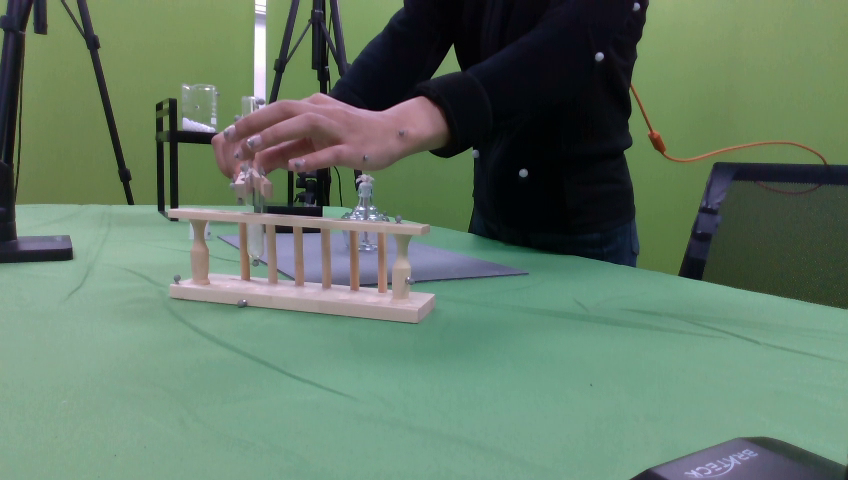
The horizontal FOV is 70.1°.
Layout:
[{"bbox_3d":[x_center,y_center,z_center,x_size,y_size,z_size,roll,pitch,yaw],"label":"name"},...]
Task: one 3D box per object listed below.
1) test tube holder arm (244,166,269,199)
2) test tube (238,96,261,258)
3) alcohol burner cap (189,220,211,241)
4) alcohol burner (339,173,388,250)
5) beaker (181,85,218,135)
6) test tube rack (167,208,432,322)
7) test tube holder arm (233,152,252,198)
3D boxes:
[{"bbox_3d":[-0.168,-0.057,0.591,0.010,0.015,0.087,-2,19,-30],"label":"test tube holder arm"},{"bbox_3d":[-0.162,-0.057,0.561,0.017,0.150,0.017,0,8,0],"label":"test tube"},{"bbox_3d":[-0.366,-0.023,0.987,0.034,0.048,0.034,3,8,0],"label":"alcohol burner cap"},{"bbox_3d":[-0.094,-0.045,0.938,0.078,0.119,0.078,0,7,0],"label":"alcohol burner"},{"bbox_3d":[-0.480,-0.276,1.290,0.074,0.100,0.084,2,8,-1],"label":"beaker"},{"bbox_3d":[-0.116,0.018,0.573,0.242,0.085,0.067,4,7,13],"label":"test tube rack"},{"bbox_3d":[-0.187,-0.071,0.629,0.013,0.015,0.178,4,17,-16],"label":"test tube holder arm"}]
